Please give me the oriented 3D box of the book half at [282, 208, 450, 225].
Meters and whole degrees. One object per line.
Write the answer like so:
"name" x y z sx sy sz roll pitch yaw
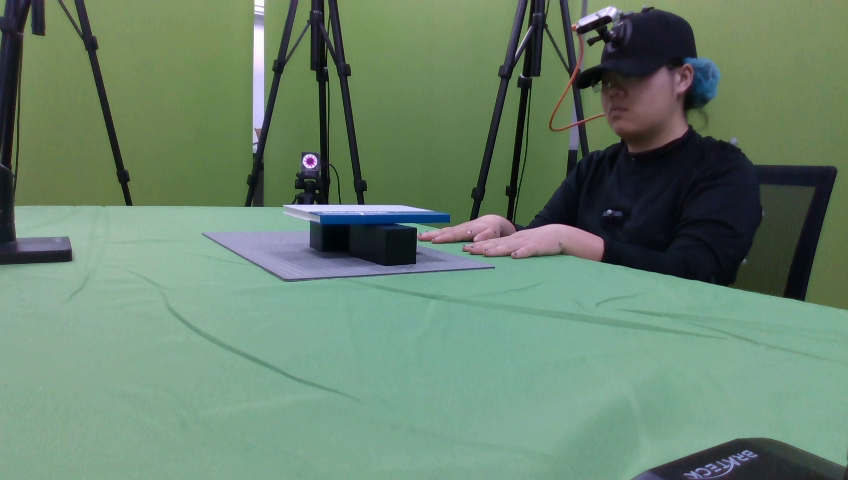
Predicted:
"book half" -0.086 -0.037 0.905 0.211 0.016 0.148 -1 9 -32

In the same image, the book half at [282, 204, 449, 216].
"book half" -0.088 -0.044 0.907 0.211 0.007 0.142 -2 9 -32
